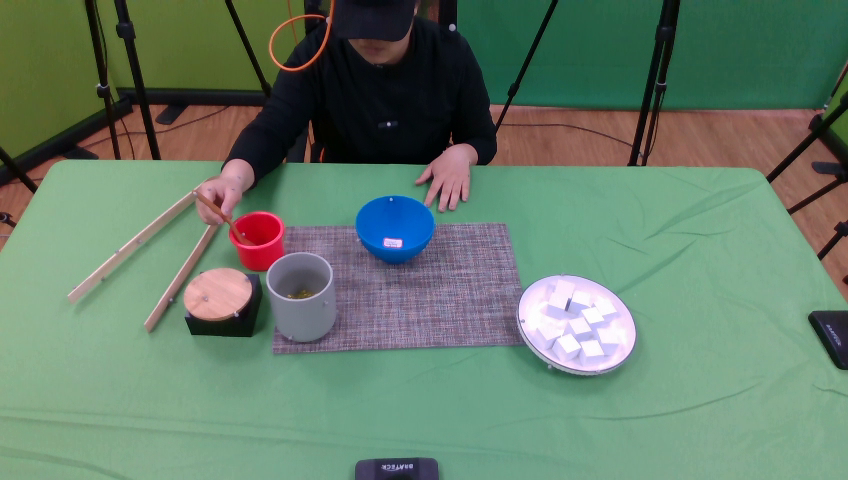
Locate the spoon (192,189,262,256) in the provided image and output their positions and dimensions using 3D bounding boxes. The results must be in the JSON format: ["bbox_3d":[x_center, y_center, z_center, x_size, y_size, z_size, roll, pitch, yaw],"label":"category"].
[{"bbox_3d":[-0.349,-0.030,1.084,0.021,0.195,0.041,-29,47,-1],"label":"spoon"}]

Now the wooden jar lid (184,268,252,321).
[{"bbox_3d":[-0.343,0.093,1.015,0.108,0.021,0.107,3,46,-3],"label":"wooden jar lid"}]

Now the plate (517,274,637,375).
[{"bbox_3d":[0.264,0.149,1.060,0.209,0.038,0.208,3,46,-3],"label":"plate"}]

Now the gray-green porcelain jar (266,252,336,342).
[{"bbox_3d":[-0.202,0.100,1.009,0.106,0.127,0.105,2,46,-2],"label":"gray-green porcelain jar"}]

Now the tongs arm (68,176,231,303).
[{"bbox_3d":[-0.510,-0.010,1.162,0.050,0.026,0.383,20,47,14],"label":"tongs arm"}]

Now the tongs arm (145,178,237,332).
[{"bbox_3d":[-0.432,0.015,1.149,0.028,0.028,0.385,8,46,7],"label":"tongs arm"}]

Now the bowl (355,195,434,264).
[{"bbox_3d":[-0.056,-0.008,1.158,0.151,0.077,0.150,2,46,-2],"label":"bowl"}]
